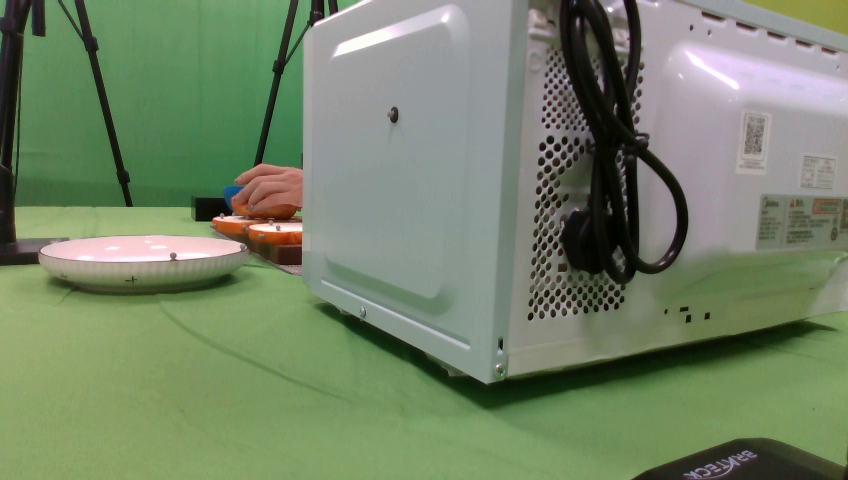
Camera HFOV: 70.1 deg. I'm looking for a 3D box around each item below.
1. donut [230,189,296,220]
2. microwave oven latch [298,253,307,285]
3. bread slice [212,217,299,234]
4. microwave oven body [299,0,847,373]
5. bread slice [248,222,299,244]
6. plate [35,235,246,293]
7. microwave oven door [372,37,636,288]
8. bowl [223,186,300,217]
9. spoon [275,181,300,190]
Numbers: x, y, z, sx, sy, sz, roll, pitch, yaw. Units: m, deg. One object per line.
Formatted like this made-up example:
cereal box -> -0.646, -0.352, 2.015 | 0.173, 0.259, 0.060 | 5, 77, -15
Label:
donut -> -0.250, -0.055, 0.941 | 0.099, 0.048, 0.099 | 3, 6, 0
microwave oven latch -> -0.081, 0.027, 0.582 | 0.079, 0.029, 0.030 | -1, 7, -32
bread slice -> -0.256, -0.024, 0.936 | 0.132, 0.019, 0.104 | -3, 7, -40
microwave oven body -> 0.151, -0.055, 0.542 | 0.444, 0.260, 0.324 | -2, 7, -33
bread slice -> -0.174, -0.012, 0.844 | 0.135, 0.018, 0.106 | -6, 10, -44
plate -> -0.305, 0.026, 0.668 | 0.208, 0.039, 0.207 | 3, 7, 0
microwave oven door -> 0.110, -0.080, 0.686 | 0.358, 0.243, 0.039 | -2, 9, -33
bowl -> -0.330, -0.067, 1.230 | 0.151, 0.077, 0.151 | 3, 7, 0
spoon -> -0.301, -0.101, 1.260 | 0.041, 0.021, 0.194 | 12, 29, 33
